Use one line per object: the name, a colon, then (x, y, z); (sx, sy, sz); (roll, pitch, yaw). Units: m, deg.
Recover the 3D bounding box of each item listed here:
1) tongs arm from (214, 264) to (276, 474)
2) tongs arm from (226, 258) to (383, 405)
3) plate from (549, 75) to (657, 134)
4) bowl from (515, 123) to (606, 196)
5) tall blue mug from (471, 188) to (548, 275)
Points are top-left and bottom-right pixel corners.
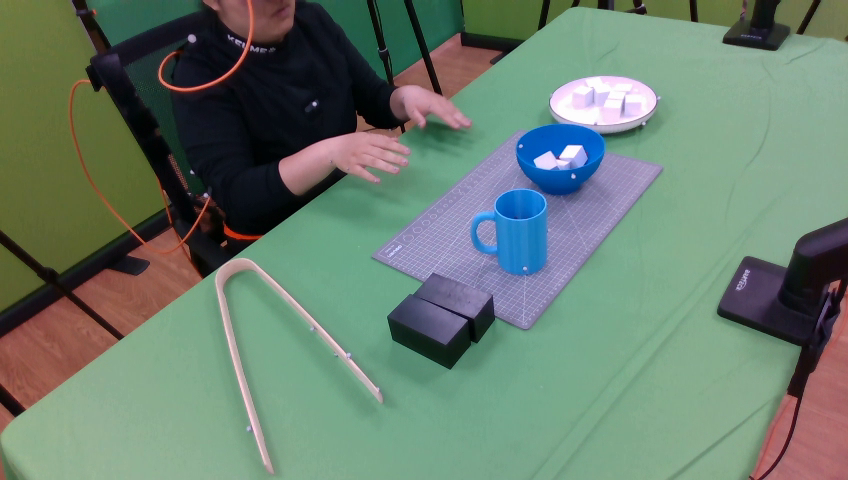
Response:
tongs arm: (-0.252, 0.158, 0.837); (0.028, 0.028, 0.384); (-27, 43, -8)
tongs arm: (-0.185, 0.121, 0.863); (0.051, 0.027, 0.381); (-34, 45, -20)
plate: (0.357, -0.269, 1.220); (0.209, 0.038, 0.208); (-5, 41, 5)
bowl: (0.235, -0.131, 1.045); (0.151, 0.077, 0.150); (-5, 40, 5)
tall blue mug: (0.131, -0.007, 0.893); (0.107, 0.108, 0.077); (-20, 42, -11)
